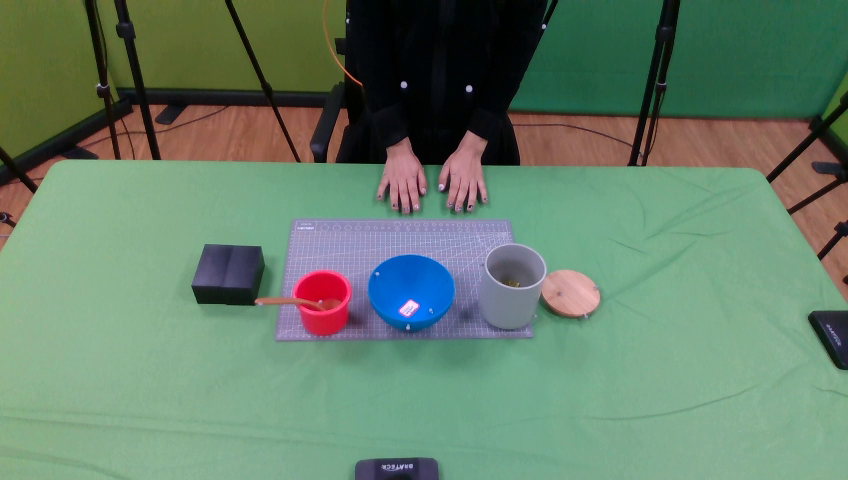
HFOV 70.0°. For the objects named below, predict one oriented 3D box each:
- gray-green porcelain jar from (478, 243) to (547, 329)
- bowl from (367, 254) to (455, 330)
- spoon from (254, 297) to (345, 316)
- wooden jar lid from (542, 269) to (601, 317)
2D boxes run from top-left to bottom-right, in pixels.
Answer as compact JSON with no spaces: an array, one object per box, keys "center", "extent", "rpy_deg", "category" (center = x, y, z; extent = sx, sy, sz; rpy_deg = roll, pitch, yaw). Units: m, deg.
[{"center":[0.150,0.085,1.049],"extent":[0.106,0.127,0.105],"rpy_deg":[2,46,-2],"category":"gray-green porcelain jar"},{"center":[-0.023,0.104,1.053],"extent":[0.151,0.077,0.150],"rpy_deg":[2,46,-2],"category":"bowl"},{"center":[-0.200,0.104,0.995],"extent":[0.041,0.021,0.195],"rpy_deg":[46,15,32],"category":"spoon"},{"center":[0.272,0.100,1.121],"extent":[0.108,0.021,0.107],"rpy_deg":[2,46,-2],"category":"wooden jar lid"}]
